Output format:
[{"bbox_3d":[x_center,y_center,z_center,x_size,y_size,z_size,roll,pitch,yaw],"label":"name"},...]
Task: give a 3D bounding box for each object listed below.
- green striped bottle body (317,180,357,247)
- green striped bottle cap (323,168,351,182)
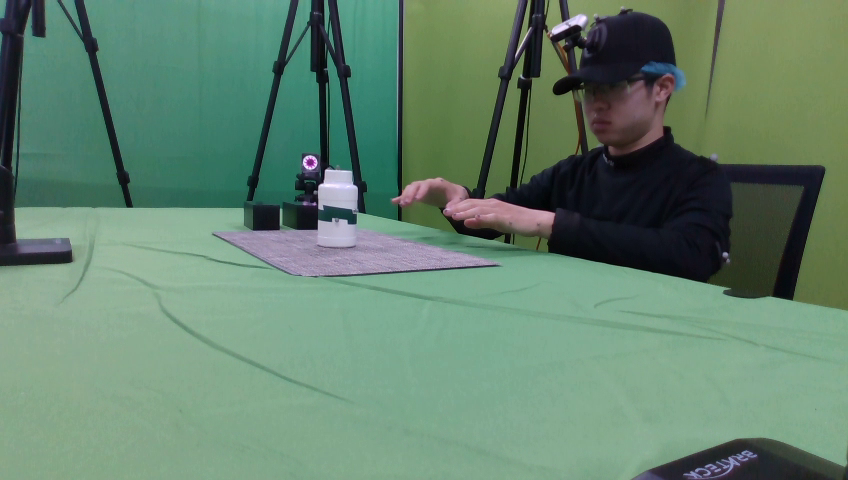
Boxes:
[{"bbox_3d":[-0.139,-0.051,0.964,0.063,0.119,0.063,2,7,0],"label":"green striped bottle body"},{"bbox_3d":[-0.137,-0.102,0.959,0.044,0.020,0.044,5,9,0],"label":"green striped bottle cap"}]
